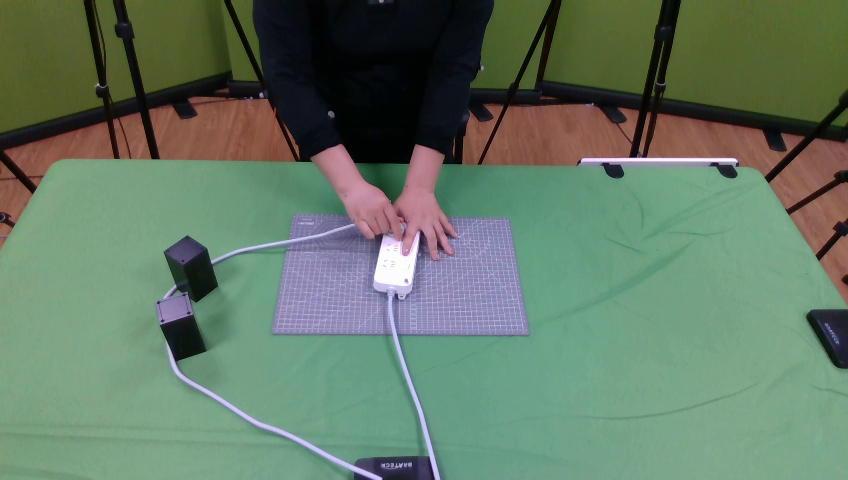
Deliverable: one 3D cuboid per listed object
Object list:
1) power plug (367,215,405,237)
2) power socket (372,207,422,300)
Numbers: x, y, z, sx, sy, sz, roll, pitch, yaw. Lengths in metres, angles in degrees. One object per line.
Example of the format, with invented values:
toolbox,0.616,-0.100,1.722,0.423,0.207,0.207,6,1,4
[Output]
power plug,-0.071,-0.028,1.174,0.072,0.053,0.035,21,47,11
power socket,-0.049,0.018,1.165,0.072,0.033,0.225,7,46,3
